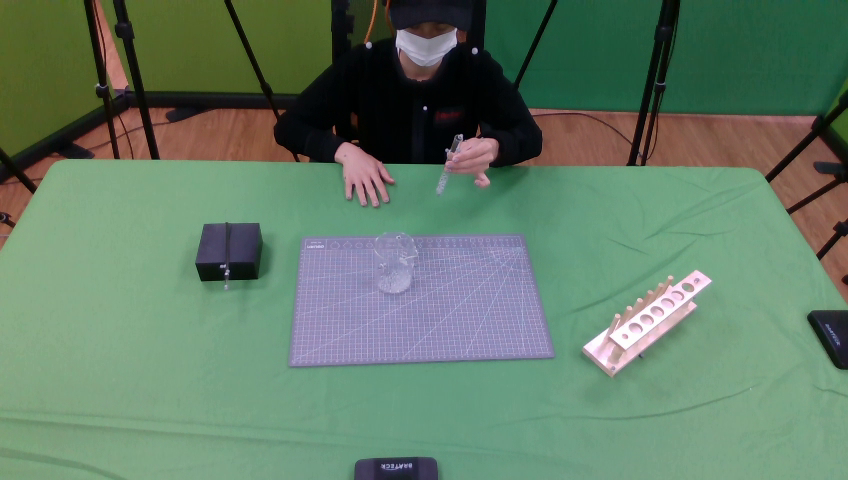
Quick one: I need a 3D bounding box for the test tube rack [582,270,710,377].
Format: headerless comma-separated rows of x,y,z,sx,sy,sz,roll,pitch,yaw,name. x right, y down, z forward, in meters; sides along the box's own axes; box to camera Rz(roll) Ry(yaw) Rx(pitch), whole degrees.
0.389,0.132,1.057,0.242,0.085,0.066,-28,54,-28,test tube rack

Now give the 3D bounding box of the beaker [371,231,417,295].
-0.054,0.045,1.093,0.084,0.101,0.073,17,47,10,beaker

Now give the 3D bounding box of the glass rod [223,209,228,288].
-0.360,0.010,1.098,0.008,0.008,0.198,-7,47,-12,glass rod

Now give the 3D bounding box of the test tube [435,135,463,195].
0.043,-0.133,1.099,0.017,0.151,0.017,8,52,-10,test tube
